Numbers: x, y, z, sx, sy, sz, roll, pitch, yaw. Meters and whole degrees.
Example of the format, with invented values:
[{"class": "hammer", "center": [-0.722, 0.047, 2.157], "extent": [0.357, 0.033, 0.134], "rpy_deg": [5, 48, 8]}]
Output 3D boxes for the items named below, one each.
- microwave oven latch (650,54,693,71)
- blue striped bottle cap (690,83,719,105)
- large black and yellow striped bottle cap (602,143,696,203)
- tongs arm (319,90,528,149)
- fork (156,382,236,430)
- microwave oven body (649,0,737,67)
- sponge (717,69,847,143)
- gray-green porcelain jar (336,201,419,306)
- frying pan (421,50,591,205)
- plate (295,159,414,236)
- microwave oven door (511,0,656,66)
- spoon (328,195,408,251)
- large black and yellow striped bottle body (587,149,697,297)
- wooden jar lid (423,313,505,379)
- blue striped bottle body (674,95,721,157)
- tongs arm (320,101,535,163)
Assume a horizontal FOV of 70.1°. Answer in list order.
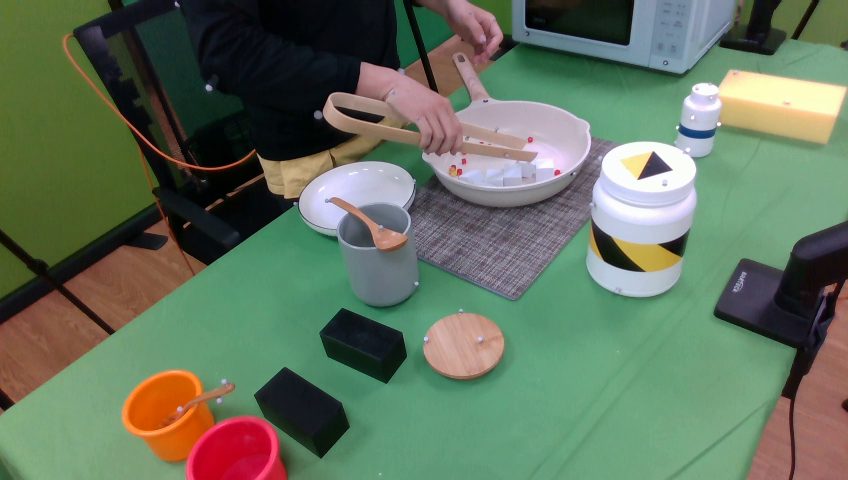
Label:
[{"class": "microwave oven latch", "center": [0.531, -0.386, 1.301], "extent": [0.078, 0.029, 0.030], "rpy_deg": [26, 51, 33]}, {"class": "blue striped bottle cap", "center": [0.481, -0.251, 1.038], "extent": [0.044, 0.021, 0.044], "rpy_deg": [-5, 40, 5]}, {"class": "large black and yellow striped bottle cap", "center": [0.289, -0.088, 0.779], "extent": [0.115, 0.019, 0.114], "rpy_deg": [-5, 39, 4]}, {"class": "tongs arm", "center": [0.017, -0.182, 0.970], "extent": [0.388, 0.026, 0.050], "rpy_deg": [9, 50, -29]}, {"class": "fork", "center": [-0.262, 0.189, 0.690], "extent": [0.018, 0.206, 0.028], "rpy_deg": [49, 43, -7]}, {"class": "microwave oven body", "center": [0.475, -0.602, 1.411], "extent": [0.438, 0.261, 0.327], "rpy_deg": [23, 50, 32]}, {"class": "sponge", "center": [0.663, -0.256, 1.142], "extent": [0.205, 0.061, 0.118], "rpy_deg": [19, 47, 28]}, {"class": "gray-green porcelain jar", "center": [-0.064, 0.024, 0.872], "extent": [0.106, 0.127, 0.105], "rpy_deg": [-4, 41, 4]}, {"class": "frying pan", "center": [0.127, -0.233, 1.155], "extent": [0.307, 0.103, 0.484], "rpy_deg": [-10, 49, -5]}, {"class": "plate", "center": [-0.118, -0.070, 1.055], "extent": [0.207, 0.039, 0.206], "rpy_deg": [-5, 40, 5]}, {"class": "microwave oven door", "center": [0.351, -0.540, 1.349], "extent": [0.353, 0.245, 0.039], "rpy_deg": [24, 50, 31]}, {"class": "spoon", "center": [-0.083, -0.029, 0.829], "extent": [0.042, 0.022, 0.192], "rpy_deg": [-32, 42, -21]}, {"class": "large black and yellow striped bottle body", "center": [0.298, -0.026, 0.835], "extent": [0.131, 0.185, 0.130], "rpy_deg": [-4, 41, 4]}, {"class": "wooden jar lid", "center": [0.053, 0.142, 0.800], "extent": [0.108, 0.021, 0.108], "rpy_deg": [-5, 39, 4]}, {"class": "blue striped bottle body", "center": [0.486, -0.213, 1.072], "extent": [0.063, 0.121, 0.063], "rpy_deg": [-4, 41, 4]}, {"class": "tongs arm", "center": [0.023, -0.162, 0.957], "extent": [0.391, 0.027, 0.028], "rpy_deg": [6, 55, -32]}]
